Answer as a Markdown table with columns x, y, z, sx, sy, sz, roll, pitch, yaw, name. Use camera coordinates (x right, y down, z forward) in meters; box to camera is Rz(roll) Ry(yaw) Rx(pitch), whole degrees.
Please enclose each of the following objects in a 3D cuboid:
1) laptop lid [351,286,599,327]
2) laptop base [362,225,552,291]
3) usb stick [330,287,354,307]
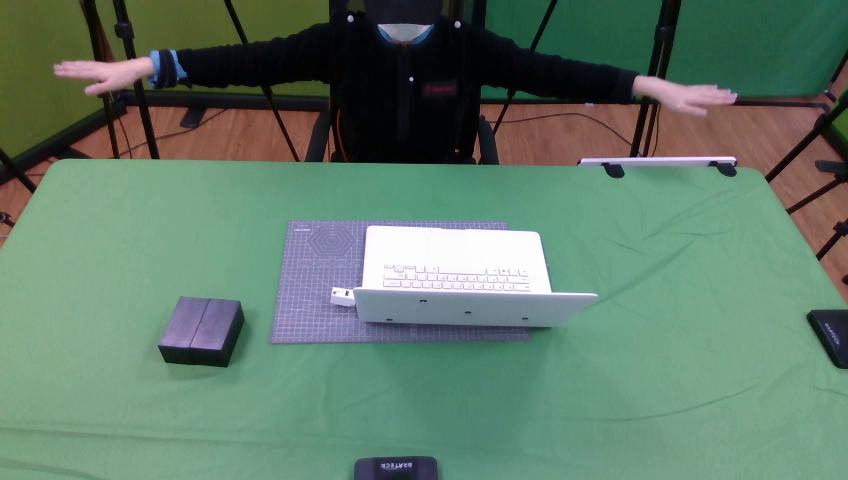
| x | y | z | sx | sy | sz | roll | pitch | yaw | name |
| --- | --- | --- | --- | --- | --- | --- | --- | --- | --- |
| 0.068 | 0.109 | 0.952 | 0.357 | 0.242 | 0.013 | 2 | 71 | -4 | laptop lid |
| 0.061 | 0.063 | 1.145 | 0.354 | 0.023 | 0.234 | 2 | 43 | -3 | laptop base |
| -0.135 | 0.101 | 1.068 | 0.059 | 0.027 | 0.021 | 13 | 43 | -9 | usb stick |
